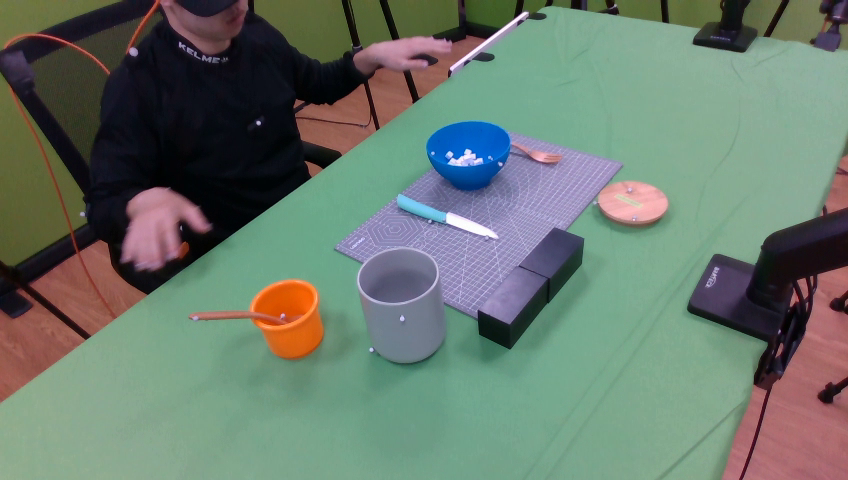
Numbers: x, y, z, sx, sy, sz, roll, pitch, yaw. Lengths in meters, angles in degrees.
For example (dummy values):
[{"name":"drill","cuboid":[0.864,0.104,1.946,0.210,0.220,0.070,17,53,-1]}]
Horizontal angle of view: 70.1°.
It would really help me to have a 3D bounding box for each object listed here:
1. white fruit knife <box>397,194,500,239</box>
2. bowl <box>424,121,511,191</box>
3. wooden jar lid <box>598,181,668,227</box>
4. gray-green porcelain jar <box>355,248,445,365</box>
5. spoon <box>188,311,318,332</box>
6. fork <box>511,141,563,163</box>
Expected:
[{"name":"white fruit knife","cuboid":[0.036,-0.037,1.007,0.206,0.016,0.027,21,62,28]},{"name":"bowl","cuboid":[0.080,-0.141,1.074,0.151,0.077,0.150,-4,40,4]},{"name":"wooden jar lid","cuboid":[0.340,-0.057,0.989,0.108,0.021,0.108,-5,41,5]},{"name":"gray-green porcelain jar","cuboid":[-0.027,0.091,0.786,0.106,0.127,0.105,-4,40,4]},{"name":"spoon","cuboid":[-0.216,0.102,0.783,0.041,0.195,0.021,26,95,39]},{"name":"fork","cuboid":[0.168,-0.178,1.150,0.206,0.019,0.028,23,57,28]}]
